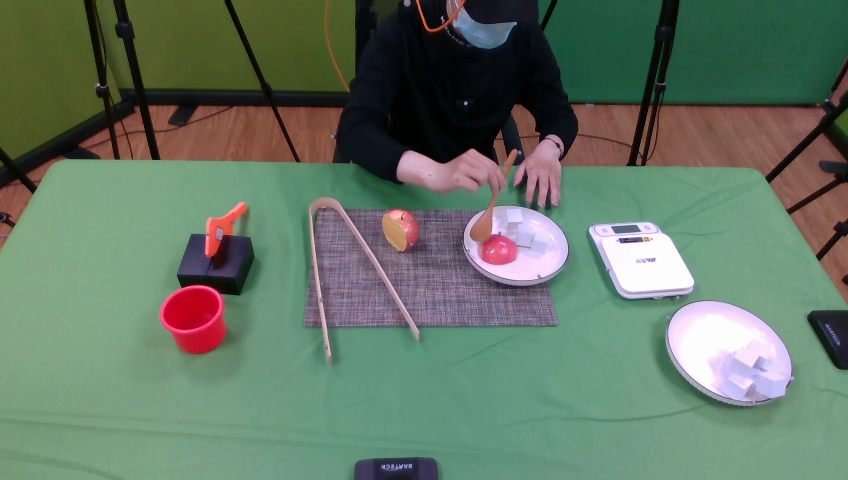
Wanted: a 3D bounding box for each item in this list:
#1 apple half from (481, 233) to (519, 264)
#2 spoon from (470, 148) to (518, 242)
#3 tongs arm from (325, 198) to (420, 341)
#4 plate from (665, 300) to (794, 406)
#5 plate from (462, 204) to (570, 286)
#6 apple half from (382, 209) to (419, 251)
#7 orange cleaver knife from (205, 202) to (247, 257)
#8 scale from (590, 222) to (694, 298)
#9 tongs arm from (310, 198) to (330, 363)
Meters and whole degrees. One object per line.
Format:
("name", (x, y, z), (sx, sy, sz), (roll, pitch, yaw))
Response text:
("apple half", (0.147, 0.010, 1.174), (0.081, 0.033, 0.081), (0, 46, 1))
("spoon", (0.132, -0.081, 1.125), (0.041, 0.194, 0.021), (18, 16, -5))
("tongs arm", (-0.101, 0.043, 1.140), (0.028, 0.028, 0.385), (-22, 51, -18))
("plate", (0.513, 0.194, 1.033), (0.208, 0.039, 0.206), (2, 46, -2))
("plate", (0.177, 0.013, 1.180), (0.209, 0.038, 0.208), (2, 46, -2))
("apple half", (-0.039, -0.022, 1.175), (0.053, 0.075, 0.080), (-27, 50, -31))
("orange cleaver knife", (-0.374, -0.023, 1.151), (0.012, 0.077, 0.210), (4, 16, 1))
("scale", (0.424, 0.031, 1.189), (0.149, 0.032, 0.199), (-3, 46, -7))
("tongs arm", (-0.180, 0.058, 1.117), (0.051, 0.026, 0.382), (-9, 46, -11))
